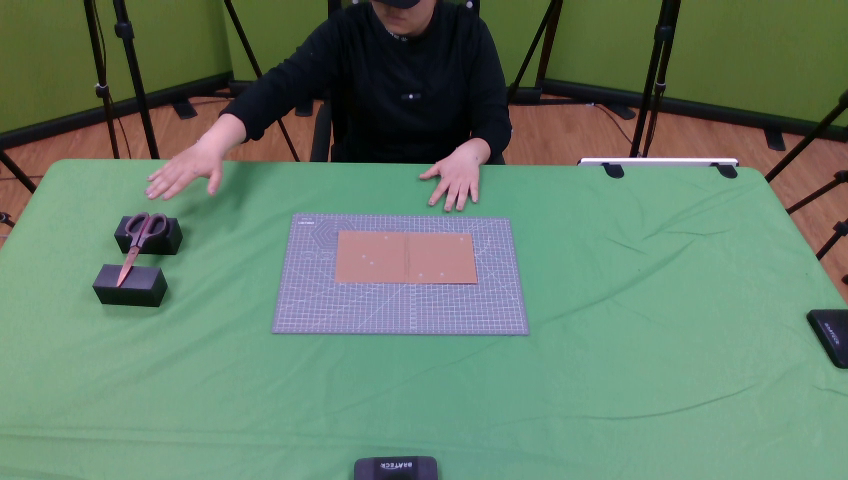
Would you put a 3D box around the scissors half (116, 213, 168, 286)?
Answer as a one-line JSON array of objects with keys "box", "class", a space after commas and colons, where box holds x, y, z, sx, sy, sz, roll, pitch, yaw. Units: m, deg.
[{"box": [-0.504, 0.015, 1.082, 0.040, 0.013, 0.174, 9, 47, 5], "class": "scissors half"}]

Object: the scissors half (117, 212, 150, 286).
[{"box": [-0.524, 0.014, 1.080, 0.040, 0.013, 0.174, 0, 47, -10], "class": "scissors half"}]

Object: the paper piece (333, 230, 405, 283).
[{"box": [-0.104, 0.031, 1.165, 0.135, 0.004, 0.135, 1, 47, -4], "class": "paper piece"}]

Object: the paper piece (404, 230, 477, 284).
[{"box": [0.030, 0.033, 1.174, 0.138, 0.009, 0.135, 2, 49, -3], "class": "paper piece"}]
